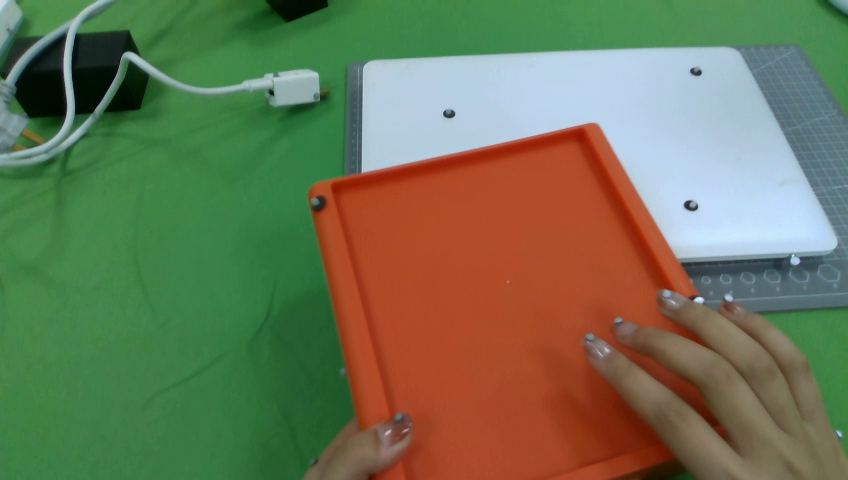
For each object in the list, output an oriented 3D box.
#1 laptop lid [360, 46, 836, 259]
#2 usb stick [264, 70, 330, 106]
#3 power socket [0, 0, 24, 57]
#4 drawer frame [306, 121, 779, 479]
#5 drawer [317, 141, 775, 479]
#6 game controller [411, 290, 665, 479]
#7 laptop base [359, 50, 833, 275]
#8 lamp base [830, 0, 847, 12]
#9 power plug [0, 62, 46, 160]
[{"bbox_3d":[0.123,-0.079,0.500,0.357,0.013,0.239,-1,56,-1],"label":"laptop lid"},{"bbox_3d":[-0.113,-0.139,0.549,0.059,0.027,0.021,-17,31,-38],"label":"usb stick"},{"bbox_3d":[-0.456,-0.166,0.574,0.072,0.033,0.224,1,53,-1],"label":"power socket"},{"bbox_3d":[0.050,0.048,0.361,0.202,0.083,0.211,-14,58,-9],"label":"drawer frame"},{"bbox_3d":[0.053,0.051,0.360,0.195,0.074,0.209,-13,58,-10],"label":"drawer"},{"bbox_3d":[0.068,0.090,0.349,0.155,0.051,0.097,-17,89,-10],"label":"game controller"},{"bbox_3d":[0.123,-0.074,0.510,0.354,0.023,0.233,-3,57,-2],"label":"laptop base"},{"bbox_3d":[0.512,-0.332,0.598,0.159,0.182,0.179,30,57,21],"label":"lamp base"},{"bbox_3d":[-0.336,-0.105,0.508,0.072,0.053,0.035,-56,36,-1],"label":"power plug"}]
